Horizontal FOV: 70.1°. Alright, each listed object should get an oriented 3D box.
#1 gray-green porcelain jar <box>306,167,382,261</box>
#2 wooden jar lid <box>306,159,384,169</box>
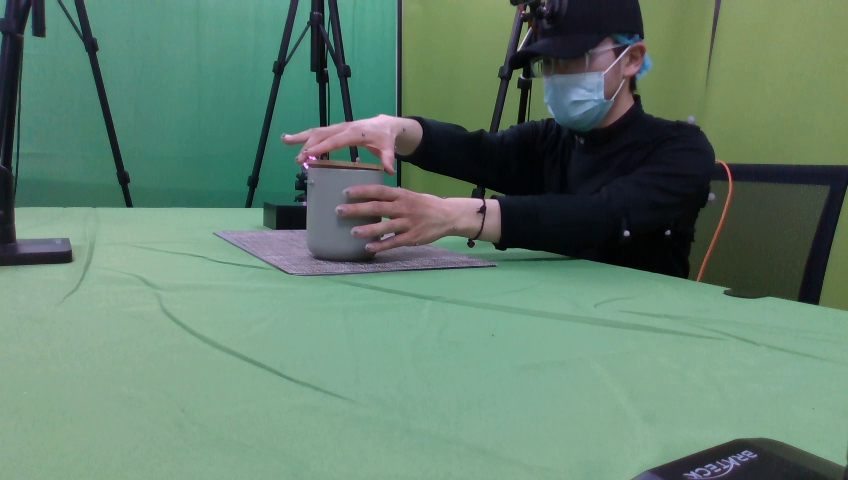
[{"bbox_3d":[-0.112,-0.039,0.849,0.106,0.126,0.106,2,7,0],"label":"gray-green porcelain jar"},{"bbox_3d":[-0.110,-0.100,0.840,0.108,0.020,0.108,3,4,0],"label":"wooden jar lid"}]
